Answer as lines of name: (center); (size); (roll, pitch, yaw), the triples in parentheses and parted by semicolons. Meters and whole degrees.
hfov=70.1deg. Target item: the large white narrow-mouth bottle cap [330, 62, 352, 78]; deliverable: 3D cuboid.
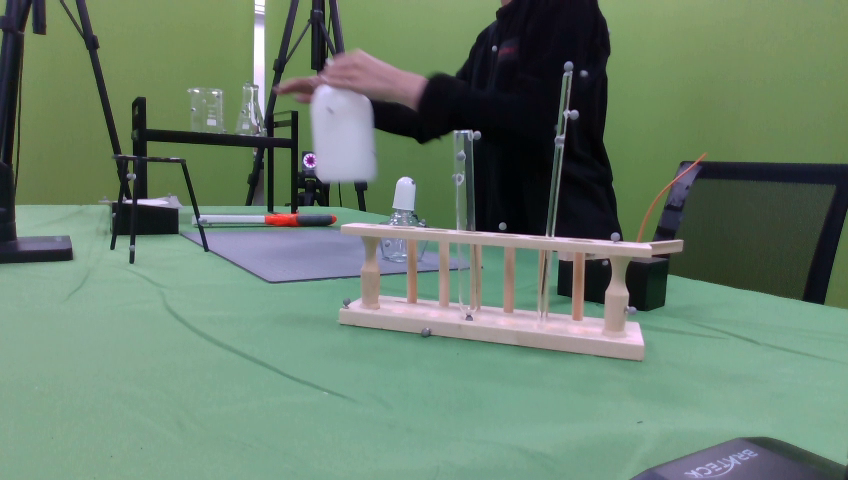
large white narrow-mouth bottle cap: (-0.138, -0.279, 0.998); (0.038, 0.024, 0.037); (-3, 6, 1)

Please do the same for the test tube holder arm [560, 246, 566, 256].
test tube holder arm: (0.173, 0.007, 0.611); (0.088, 0.015, 0.010); (-3, 9, -30)

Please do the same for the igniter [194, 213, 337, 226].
igniter: (-0.306, -0.041, 1.197); (0.278, 0.025, 0.057); (-2, -2, -30)

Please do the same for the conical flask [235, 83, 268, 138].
conical flask: (-0.401, -0.299, 1.406); (0.075, 0.122, 0.075); (2, 7, 0)

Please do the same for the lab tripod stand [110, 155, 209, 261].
lab tripod stand: (-0.361, -0.046, 0.806); (0.148, 0.131, 0.148); (2, 5, 0)

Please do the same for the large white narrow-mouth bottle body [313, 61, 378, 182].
large white narrow-mouth bottle body: (-0.132, -0.196, 1.006); (0.102, 0.194, 0.102); (-3, 6, 1)

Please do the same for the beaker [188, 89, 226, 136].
beaker: (-0.485, -0.284, 1.353); (0.073, 0.100, 0.084); (8, 11, 42)

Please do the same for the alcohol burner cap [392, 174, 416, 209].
alcohol burner cap: (-0.025, -0.067, 0.834); (0.034, 0.048, 0.034); (8, 7, -1)

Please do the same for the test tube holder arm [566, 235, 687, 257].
test tube holder arm: (0.215, 0.006, 0.630); (0.179, 0.015, 0.013); (-3, 9, -31)

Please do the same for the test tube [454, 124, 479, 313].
test tube: (0.034, -0.015, 0.476); (0.017, 0.150, 0.017); (-2, 9, 1)

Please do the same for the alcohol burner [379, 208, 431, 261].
alcohol burner: (-0.027, -0.031, 0.838); (0.078, 0.119, 0.078); (0, 6, 0)

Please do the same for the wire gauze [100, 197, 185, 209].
wire gauze: (-0.469, -0.062, 1.008); (0.126, 0.011, 0.121); (-2, 8, -25)

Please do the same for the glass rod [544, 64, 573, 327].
glass rod: (0.101, -0.028, 0.453); (0.008, 0.199, 0.008); (2, 14, 0)

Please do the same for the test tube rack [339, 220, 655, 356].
test tube rack: (0.056, 0.032, 0.495); (0.242, 0.085, 0.067); (4, 7, 15)
